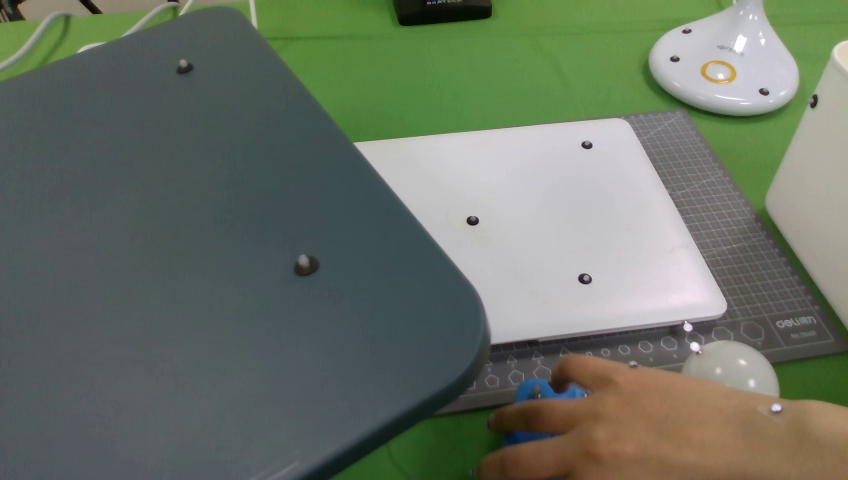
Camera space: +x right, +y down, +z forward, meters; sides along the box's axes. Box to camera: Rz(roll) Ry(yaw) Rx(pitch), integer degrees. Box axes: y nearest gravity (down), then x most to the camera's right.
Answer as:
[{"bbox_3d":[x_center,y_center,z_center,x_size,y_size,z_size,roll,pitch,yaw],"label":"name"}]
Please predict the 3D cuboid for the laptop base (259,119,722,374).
[{"bbox_3d":[0.041,-0.008,0.522,0.355,0.023,0.233,-6,53,-6],"label":"laptop base"}]

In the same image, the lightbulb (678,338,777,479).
[{"bbox_3d":[0.203,0.117,0.395,0.059,0.060,0.107,-3,65,-2],"label":"lightbulb"}]

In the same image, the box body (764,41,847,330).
[{"bbox_3d":[0.439,0.026,0.398,0.254,0.162,0.360,-7,49,-6],"label":"box body"}]

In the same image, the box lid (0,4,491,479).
[{"bbox_3d":[-0.165,-0.011,0.305,0.263,0.015,0.367,-27,49,-14],"label":"box lid"}]

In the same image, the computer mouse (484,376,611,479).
[{"bbox_3d":[0.072,0.138,0.367,0.062,0.041,0.116,17,58,15],"label":"computer mouse"}]

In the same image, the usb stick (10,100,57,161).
[{"bbox_3d":[-0.337,-0.093,0.522,0.021,0.027,0.058,-6,52,-9],"label":"usb stick"}]

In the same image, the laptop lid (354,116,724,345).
[{"bbox_3d":[0.041,-0.014,0.511,0.357,0.013,0.239,-5,52,-4],"label":"laptop lid"}]

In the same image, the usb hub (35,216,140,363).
[{"bbox_3d":[-0.263,0.035,0.480,0.049,0.025,0.124,-7,50,-4],"label":"usb hub"}]

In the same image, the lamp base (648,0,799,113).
[{"bbox_3d":[0.337,-0.253,0.626,0.160,0.182,0.178,20,50,16],"label":"lamp base"}]
